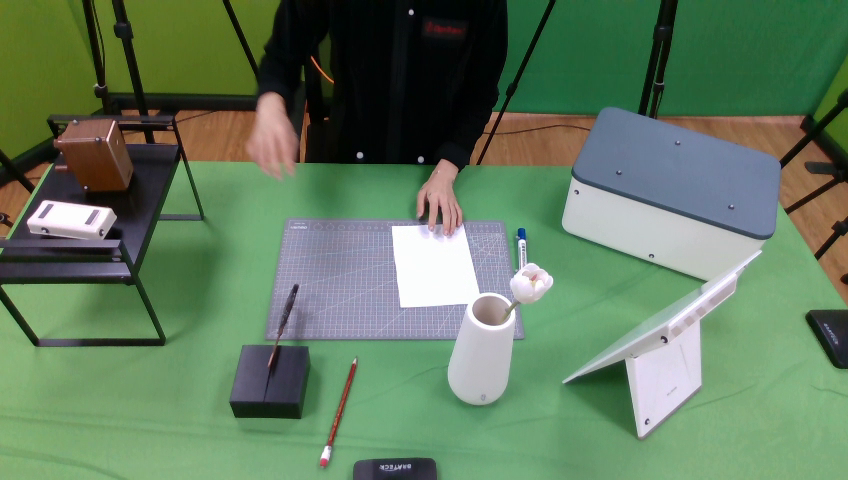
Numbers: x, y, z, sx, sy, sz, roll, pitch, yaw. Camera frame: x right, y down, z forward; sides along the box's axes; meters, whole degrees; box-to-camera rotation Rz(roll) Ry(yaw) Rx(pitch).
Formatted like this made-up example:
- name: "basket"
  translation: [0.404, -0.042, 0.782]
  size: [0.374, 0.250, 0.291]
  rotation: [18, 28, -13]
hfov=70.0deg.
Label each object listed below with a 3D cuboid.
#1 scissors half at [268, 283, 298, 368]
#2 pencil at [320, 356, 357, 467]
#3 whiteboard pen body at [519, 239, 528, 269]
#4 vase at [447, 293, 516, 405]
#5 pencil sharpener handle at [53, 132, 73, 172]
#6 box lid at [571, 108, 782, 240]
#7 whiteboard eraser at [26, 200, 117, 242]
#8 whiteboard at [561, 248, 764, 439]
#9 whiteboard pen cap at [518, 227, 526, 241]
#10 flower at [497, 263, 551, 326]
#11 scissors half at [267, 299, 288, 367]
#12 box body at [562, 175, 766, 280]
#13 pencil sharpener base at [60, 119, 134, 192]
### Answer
- name: "scissors half"
  translation: [-0.230, 0.135, 0.986]
  size: [0.013, 0.040, 0.174]
  rotation: [19, 43, -11]
- name: "pencil"
  translation: [-0.130, 0.261, 0.946]
  size: [0.012, 0.012, 0.193]
  rotation: [10, 45, 5]
- name: "whiteboard pen body"
  translation: [0.193, 0.035, 1.181]
  size: [0.017, 0.017, 0.140]
  rotation: [6, 48, 1]
- name: "vase"
  translation: [0.091, 0.169, 0.921]
  size: [0.098, 0.201, 0.097]
  rotation: [3, 47, -3]
- name: "pencil sharpener handle"
  translation: [-0.578, -0.138, 0.961]
  size: [0.031, 0.068, 0.036]
  rotation: [-4, 34, -7]
- name: "box lid"
  translation: [0.491, -0.139, 1.168]
  size: [0.370, 0.015, 0.262]
  rotation: [21, 49, 15]
- name: "whiteboard eraser"
  translation: [-0.532, -0.026, 0.919]
  size: [0.113, 0.042, 0.055]
  rotation: [7, 45, 3]
- name: "whiteboard"
  translation: [0.386, 0.176, 0.905]
  size: [0.217, 0.306, 0.143]
  rotation: [-26, 72, -26]
- name: "whiteboard pen cap"
  translation: [0.197, -0.009, 1.220]
  size: [0.018, 0.018, 0.033]
  rotation: [5, 50, 0]
- name: "flower"
  translation: [0.103, 0.121, 0.852]
  size: [0.044, 0.363, 0.038]
  rotation: [-2, 63, -9]
- name: "scissors half"
  translation: [-0.239, 0.150, 0.997]
  size: [0.013, 0.040, 0.174]
  rotation: [24, 24, -13]
- name: "box body"
  translation: [0.486, -0.088, 1.222]
  size: [0.363, 0.161, 0.253]
  rotation: [20, 48, 15]
- name: "pencil sharpener base"
  translation: [-0.528, -0.135, 0.979]
  size: [0.077, 0.107, 0.061]
  rotation: [-4, 47, -7]
